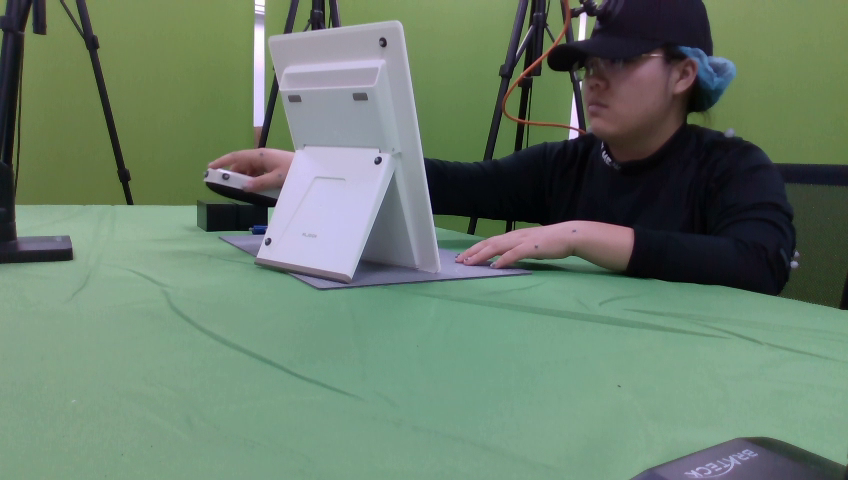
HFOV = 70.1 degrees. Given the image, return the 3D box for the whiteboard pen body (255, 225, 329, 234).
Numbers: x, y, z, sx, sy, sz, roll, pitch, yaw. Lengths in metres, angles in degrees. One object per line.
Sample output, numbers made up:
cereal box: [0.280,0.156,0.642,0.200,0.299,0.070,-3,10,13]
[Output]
whiteboard pen body: [-0.239,-0.019,1.104,0.141,0.017,0.017,-1,8,-34]

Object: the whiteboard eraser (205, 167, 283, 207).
whiteboard eraser: [-0.273,-0.080,0.929,0.113,0.042,0.055,16,0,-39]

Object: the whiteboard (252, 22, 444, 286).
whiteboard: [-0.125,-0.081,0.715,0.216,0.305,0.144,9,29,36]

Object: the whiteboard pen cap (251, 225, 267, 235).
whiteboard pen cap: [-0.288,-0.019,1.071,0.033,0.018,0.018,-3,9,-35]
